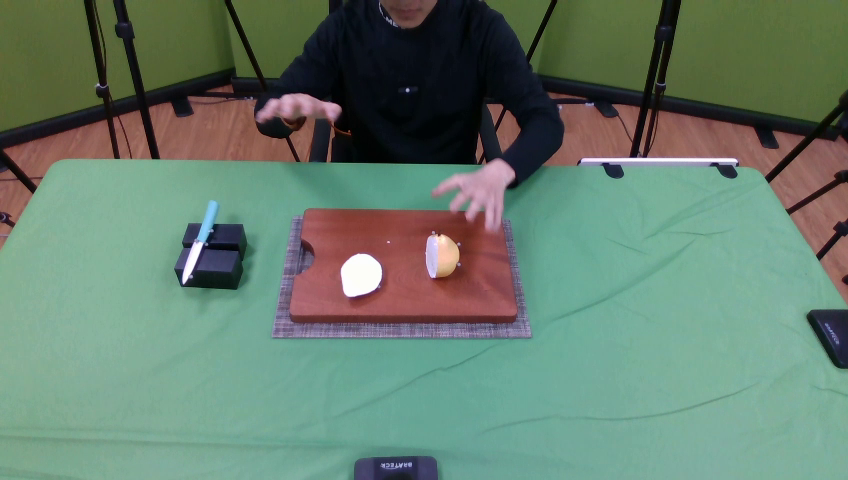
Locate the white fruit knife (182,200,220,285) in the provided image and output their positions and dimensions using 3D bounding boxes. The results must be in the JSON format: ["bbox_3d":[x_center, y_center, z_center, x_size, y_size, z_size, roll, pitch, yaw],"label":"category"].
[{"bbox_3d":[-0.405,0.001,1.103,0.027,0.016,0.206,-12,47,16],"label":"white fruit knife"}]

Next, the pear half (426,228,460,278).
[{"bbox_3d":[0.037,0.016,1.082,0.056,0.110,0.076,-13,52,-15],"label":"pear half"}]

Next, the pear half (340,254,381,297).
[{"bbox_3d":[-0.116,0.068,1.074,0.070,0.031,0.088,31,64,5],"label":"pear half"}]
